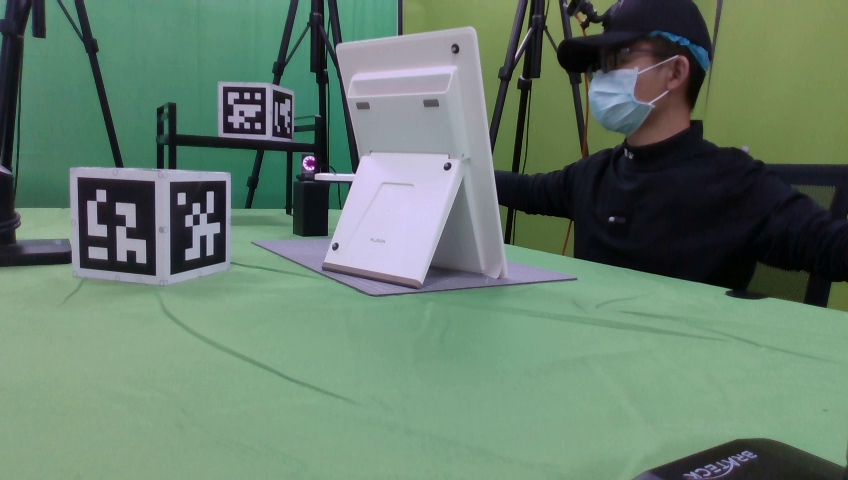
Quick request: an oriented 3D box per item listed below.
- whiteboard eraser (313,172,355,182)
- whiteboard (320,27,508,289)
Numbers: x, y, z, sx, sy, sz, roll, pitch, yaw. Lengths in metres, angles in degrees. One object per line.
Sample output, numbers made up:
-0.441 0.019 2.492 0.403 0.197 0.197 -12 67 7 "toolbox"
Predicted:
-0.163 -0.121 1.158 0.102 0.019 0.041 -1 6 -33 "whiteboard eraser"
-0.046 -0.076 0.721 0.216 0.305 0.144 9 29 39 "whiteboard"
